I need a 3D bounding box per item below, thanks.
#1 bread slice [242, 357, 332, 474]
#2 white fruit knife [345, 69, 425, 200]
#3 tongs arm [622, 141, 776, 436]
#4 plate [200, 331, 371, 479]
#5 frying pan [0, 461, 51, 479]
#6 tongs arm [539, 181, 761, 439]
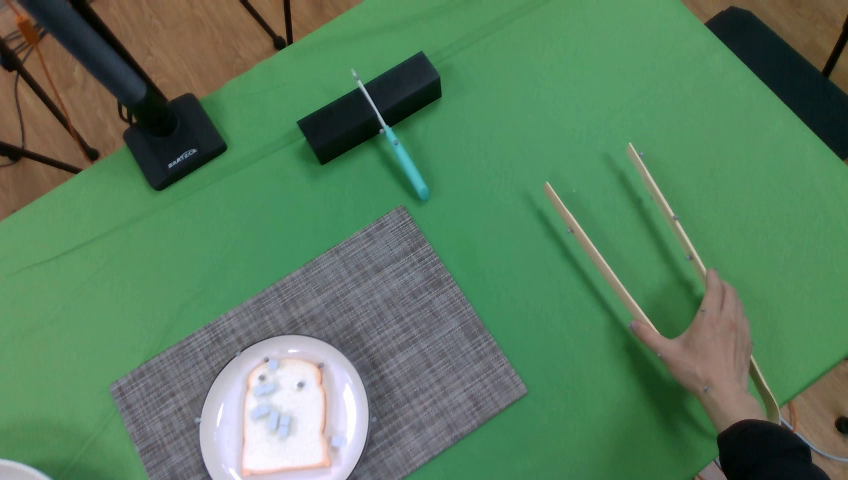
[{"bbox_3d":[-0.172,0.212,0.742,0.107,0.018,0.133,-10,73,0],"label":"bread slice"},{"bbox_3d":[-0.056,-0.146,0.830,0.016,0.027,0.207,-31,87,-8],"label":"white fruit knife"},{"bbox_3d":[0.320,0.047,0.741,0.051,0.027,0.382,-23,72,-5],"label":"tongs arm"},{"bbox_3d":[-0.165,0.217,0.739,0.207,0.039,0.206,-1,72,4],"label":"plate"},{"bbox_3d":[-0.444,0.475,0.644,0.307,0.103,0.483,-37,65,-7],"label":"frying pan"},{"bbox_3d":[0.259,0.077,0.736,0.028,0.028,0.385,-31,72,-11],"label":"tongs arm"}]
